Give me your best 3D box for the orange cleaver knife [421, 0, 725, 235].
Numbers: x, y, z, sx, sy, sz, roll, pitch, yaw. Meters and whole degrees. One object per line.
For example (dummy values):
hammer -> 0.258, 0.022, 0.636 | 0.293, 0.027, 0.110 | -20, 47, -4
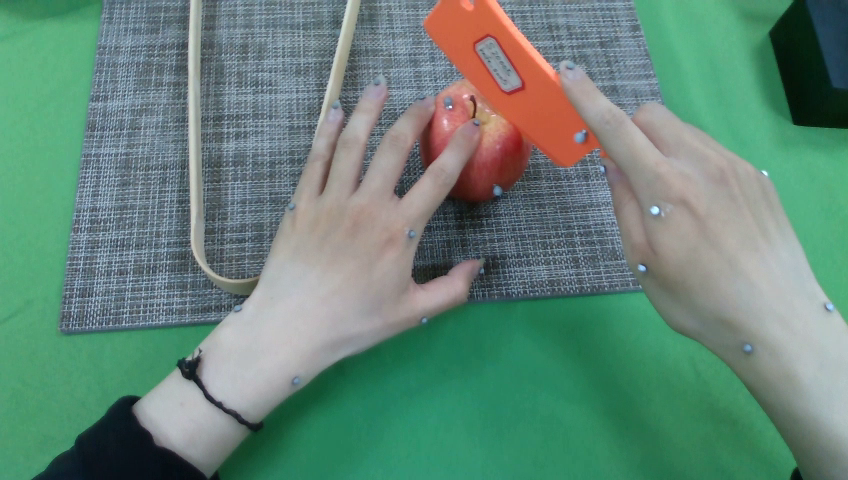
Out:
orange cleaver knife -> 0.080, -0.072, 0.358 | 0.211, 0.077, 0.012 | 43, 68, 3

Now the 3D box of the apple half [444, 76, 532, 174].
apple half -> 0.052, -0.086, 0.434 | 0.081, 0.082, 0.033 | 42, 73, 14

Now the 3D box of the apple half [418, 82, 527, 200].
apple half -> 0.025, -0.060, 0.422 | 0.080, 0.075, 0.053 | 44, 74, 11

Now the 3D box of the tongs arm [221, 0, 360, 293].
tongs arm -> -0.085, -0.142, 0.472 | 0.051, 0.027, 0.382 | 7, 67, -2

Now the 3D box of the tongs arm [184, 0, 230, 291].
tongs arm -> -0.170, -0.144, 0.468 | 0.028, 0.028, 0.384 | -5, 68, -10
